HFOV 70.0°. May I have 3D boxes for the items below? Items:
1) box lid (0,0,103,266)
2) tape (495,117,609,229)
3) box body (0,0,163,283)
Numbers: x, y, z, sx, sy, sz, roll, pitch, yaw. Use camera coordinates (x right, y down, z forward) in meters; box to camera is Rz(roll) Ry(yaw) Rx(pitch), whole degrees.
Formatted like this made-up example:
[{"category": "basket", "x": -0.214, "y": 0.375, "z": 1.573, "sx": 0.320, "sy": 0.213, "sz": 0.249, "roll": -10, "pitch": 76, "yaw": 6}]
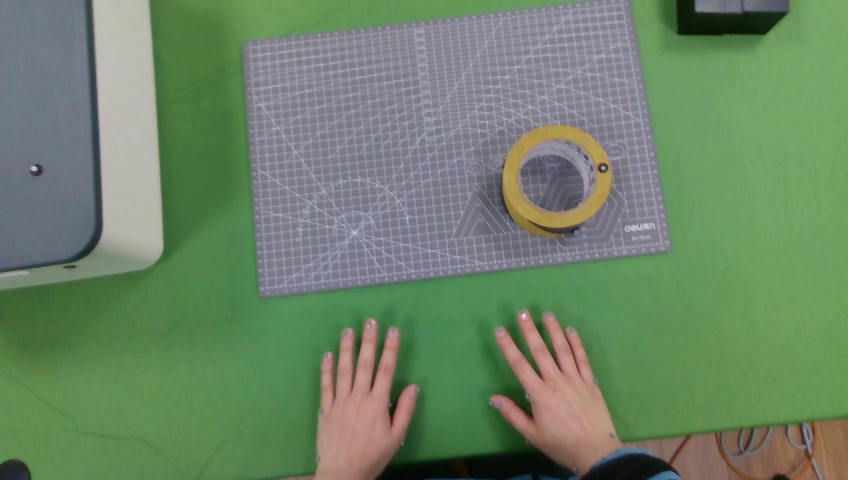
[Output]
[{"category": "box lid", "x": -0.427, "y": -0.154, "z": 0.542, "sx": 0.263, "sy": 0.015, "sz": 0.370, "roll": -8, "pitch": 83, "yaw": 0}, {"category": "tape", "x": 0.135, "y": -0.069, "z": 0.643, "sx": 0.117, "sy": 0.053, "sz": 0.116, "roll": 0, "pitch": 82, "yaw": 2}, {"category": "box body", "x": -0.425, "y": -0.141, "z": 0.615, "sx": 0.254, "sy": 0.161, "sz": 0.362, "roll": -8, "pitch": 82, "yaw": 0}]
